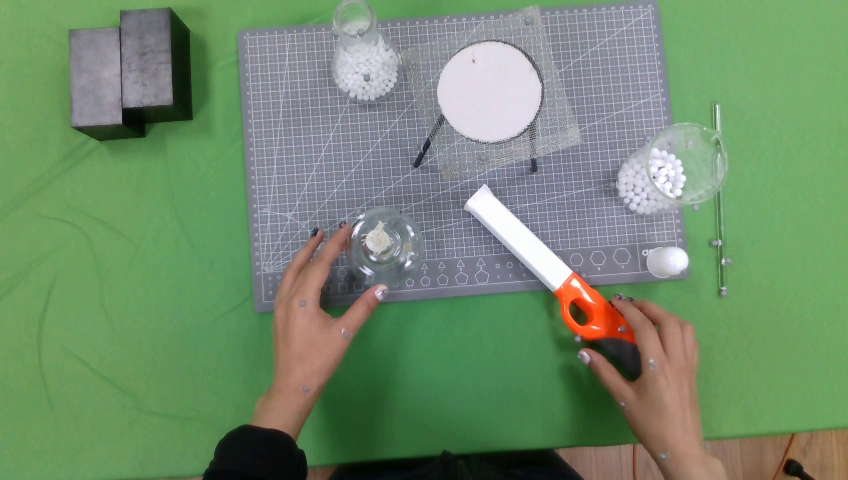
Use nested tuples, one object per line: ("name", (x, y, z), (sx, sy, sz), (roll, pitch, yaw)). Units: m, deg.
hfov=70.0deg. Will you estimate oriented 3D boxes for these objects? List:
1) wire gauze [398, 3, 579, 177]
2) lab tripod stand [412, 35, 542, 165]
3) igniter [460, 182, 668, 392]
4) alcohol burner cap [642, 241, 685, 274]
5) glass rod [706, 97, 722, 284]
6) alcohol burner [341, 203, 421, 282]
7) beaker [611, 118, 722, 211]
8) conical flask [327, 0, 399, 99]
("wire gauze", (0.054, -0.124, 0.506), (0.125, 0.011, 0.121), (-17, 86, -1))
("lab tripod stand", (0.052, -0.120, 0.573), (0.148, 0.131, 0.148), (0, 87, 0))
("igniter", (0.145, 0.047, 0.616), (0.276, 0.025, 0.057), (44, 70, 2))
("alcohol burner cap", (0.244, 0.016, 0.610), (0.034, 0.048, 0.034), (0, 84, -1))
("glass rod", (0.305, -0.053, 0.636), (0.008, 0.008, 0.199), (-1, 86, -1))
("alcohol burner", (-0.042, 0.000, 0.573), (0.078, 0.119, 0.077), (0, 84, 2))
("beaker", (0.232, -0.070, 0.588), (0.084, 0.100, 0.074), (-42, 87, -4))
("conical flask", (-0.064, -0.189, 0.582), (0.075, 0.122, 0.075), (0, 85, 0))
